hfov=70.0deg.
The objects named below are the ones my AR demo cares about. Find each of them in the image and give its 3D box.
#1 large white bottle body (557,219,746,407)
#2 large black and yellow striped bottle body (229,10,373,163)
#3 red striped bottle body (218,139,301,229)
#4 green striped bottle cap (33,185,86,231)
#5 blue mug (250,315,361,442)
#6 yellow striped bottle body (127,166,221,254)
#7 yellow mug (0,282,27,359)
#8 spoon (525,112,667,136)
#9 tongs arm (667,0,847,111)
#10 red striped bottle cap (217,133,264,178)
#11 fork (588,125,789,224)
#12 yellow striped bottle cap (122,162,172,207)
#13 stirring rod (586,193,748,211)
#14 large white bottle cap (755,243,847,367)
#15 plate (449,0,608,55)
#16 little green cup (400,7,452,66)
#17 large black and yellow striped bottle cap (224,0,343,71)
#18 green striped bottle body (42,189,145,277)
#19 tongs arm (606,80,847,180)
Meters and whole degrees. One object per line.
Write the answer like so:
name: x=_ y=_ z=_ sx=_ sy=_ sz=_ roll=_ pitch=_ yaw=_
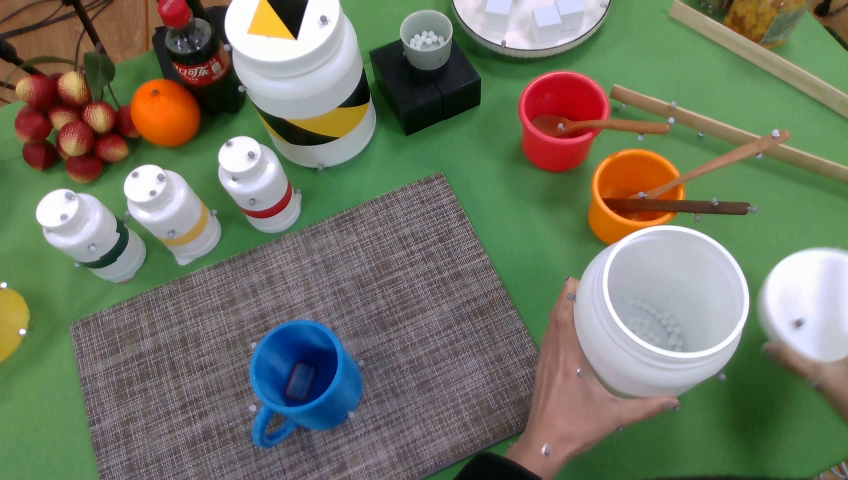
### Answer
large white bottle body: x=0.194 y=0.069 z=0.539 sx=0.130 sy=0.186 sz=0.129 roll=-2 pitch=65 yaw=4
large black and yellow striped bottle body: x=-0.133 y=-0.184 z=0.673 sx=0.131 sy=0.185 sz=0.130 roll=-1 pitch=66 yaw=3
red striped bottle body: x=-0.180 y=-0.064 z=0.658 sx=0.063 sy=0.120 sz=0.062 roll=-2 pitch=66 yaw=6
green striped bottle cap: x=-0.359 y=-0.031 z=0.598 sx=0.044 sy=0.020 sz=0.044 roll=-1 pitch=65 yaw=2
blue mug: x=-0.117 y=0.138 z=0.569 sx=0.082 sy=0.106 sz=0.116 roll=31 pitch=72 yaw=17
yellow striped bottle body: x=-0.271 y=-0.036 z=0.651 sx=0.063 sy=0.121 sz=0.062 roll=-2 pitch=65 yaw=4
yellow mug: x=-0.488 y=0.094 z=0.638 sx=0.100 sy=0.064 sz=0.129 roll=-14 pitch=67 yaw=-3
spoon: x=0.177 y=-0.126 z=0.649 sx=0.041 sy=0.192 sz=0.022 roll=-41 pitch=115 yaw=-17
tongs arm: x=0.452 y=-0.190 z=0.721 sx=0.385 sy=0.028 sz=0.028 roll=41 pitch=68 yaw=18
red striped bottle cap: x=-0.185 y=-0.086 z=0.610 sx=0.044 sy=0.018 sz=0.044 roll=0 pitch=63 yaw=0
fork: x=0.258 y=-0.063 z=0.613 sx=0.207 sy=0.019 sz=0.028 roll=-30 pitch=55 yaw=40
yellow striped bottle cap: x=-0.276 y=-0.056 z=0.603 sx=0.044 sy=0.019 sz=0.044 roll=0 pitch=62 yaw=1
stirring rod: x=0.236 y=-0.039 z=0.610 sx=0.014 sy=0.006 sz=0.175 roll=-51 pitch=31 yaw=-21
large white bottle cap: x=0.355 y=0.055 z=0.533 sx=0.115 sy=0.018 sz=0.114 roll=-3 pitch=60 yaw=5
plate: x=0.135 y=-0.323 z=0.796 sx=0.209 sy=0.038 sz=0.207 roll=-1 pitch=67 yaw=3
little green cup: x=0.002 y=-0.237 z=0.711 sx=0.061 sy=0.039 sz=0.061 roll=-1 pitch=63 yaw=2
large black and yellow striped bottle cap: x=-0.138 y=-0.218 z=0.594 sx=0.115 sy=0.019 sz=0.114 roll=-2 pitch=69 yaw=5
green striped bottle body: x=-0.355 y=-0.010 z=0.645 sx=0.063 sy=0.120 sz=0.062 roll=-1 pitch=65 yaw=3
tongs arm: x=0.400 y=-0.122 z=0.692 sx=0.383 sy=0.027 sz=0.050 roll=25 pitch=67 yaw=13
